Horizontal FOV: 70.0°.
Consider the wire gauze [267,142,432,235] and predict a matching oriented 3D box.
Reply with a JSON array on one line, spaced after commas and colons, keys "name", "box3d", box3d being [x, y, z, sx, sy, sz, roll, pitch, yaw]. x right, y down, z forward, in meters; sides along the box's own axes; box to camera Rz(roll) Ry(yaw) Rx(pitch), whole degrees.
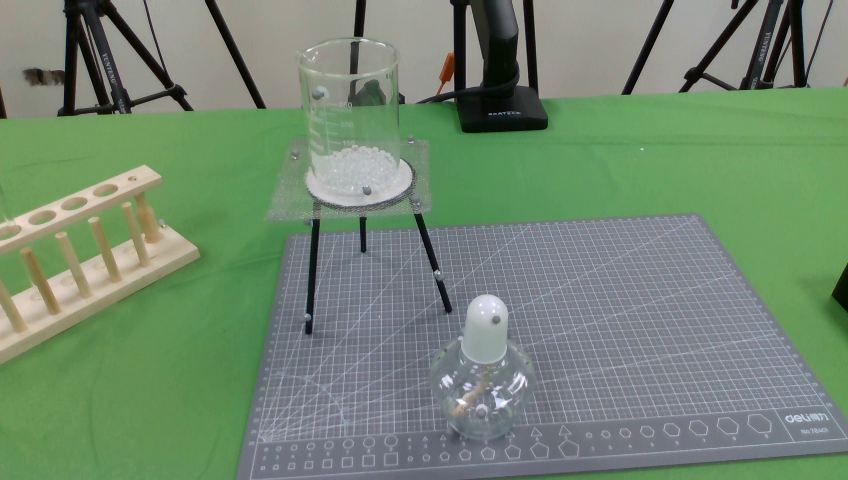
[{"name": "wire gauze", "box3d": [-0.055, -0.047, 0.486, 0.121, 0.011, 0.124, -1, 39, -1]}]

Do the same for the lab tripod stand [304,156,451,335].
[{"name": "lab tripod stand", "box3d": [-0.046, 0.004, 0.528, 0.148, 0.132, 0.147, 1, 36, 0]}]

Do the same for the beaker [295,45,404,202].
[{"name": "beaker", "box3d": [-0.056, -0.087, 0.459, 0.083, 0.101, 0.074, 22, 42, 25]}]

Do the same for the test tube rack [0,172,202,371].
[{"name": "test tube rack", "box3d": [-0.334, 0.032, 0.543, 0.066, 0.086, 0.242, 28, 46, 33]}]

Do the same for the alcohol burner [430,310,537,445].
[{"name": "alcohol burner", "box3d": [0.043, 0.090, 0.429, 0.078, 0.120, 0.077, 0, 39, 0]}]

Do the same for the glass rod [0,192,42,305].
[{"name": "glass rod", "box3d": [-0.357, -0.027, 0.512, 0.008, 0.201, 0.008, 0, 30, 0]}]

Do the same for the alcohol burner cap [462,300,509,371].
[{"name": "alcohol burner cap", "box3d": [0.043, 0.061, 0.407, 0.034, 0.048, 0.033, 1, 38, -1]}]
